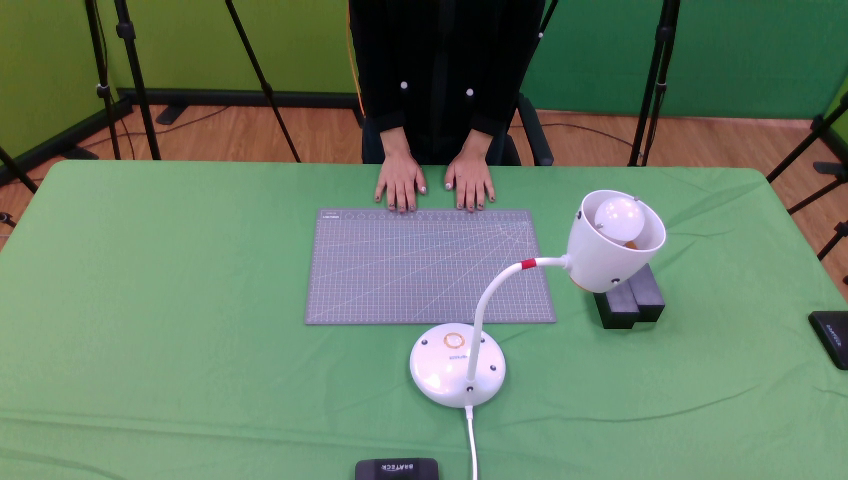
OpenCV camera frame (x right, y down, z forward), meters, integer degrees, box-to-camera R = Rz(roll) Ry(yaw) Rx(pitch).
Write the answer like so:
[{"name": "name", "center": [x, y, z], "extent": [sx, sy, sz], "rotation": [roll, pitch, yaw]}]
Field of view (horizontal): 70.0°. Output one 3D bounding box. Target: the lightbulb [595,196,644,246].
[{"name": "lightbulb", "center": [0.244, -0.008, 0.784], "extent": [0.059, 0.108, 0.059], "rotation": [8, 40, -7]}]

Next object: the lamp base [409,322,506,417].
[{"name": "lamp base", "center": [0.063, 0.160, 0.941], "extent": [0.161, 0.181, 0.178], "rotation": [-10, 50, -13]}]

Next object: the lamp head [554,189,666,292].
[{"name": "lamp head", "center": [0.234, 0.012, 0.796], "extent": [0.113, 0.123, 0.111], "rotation": [13, 43, -13]}]
